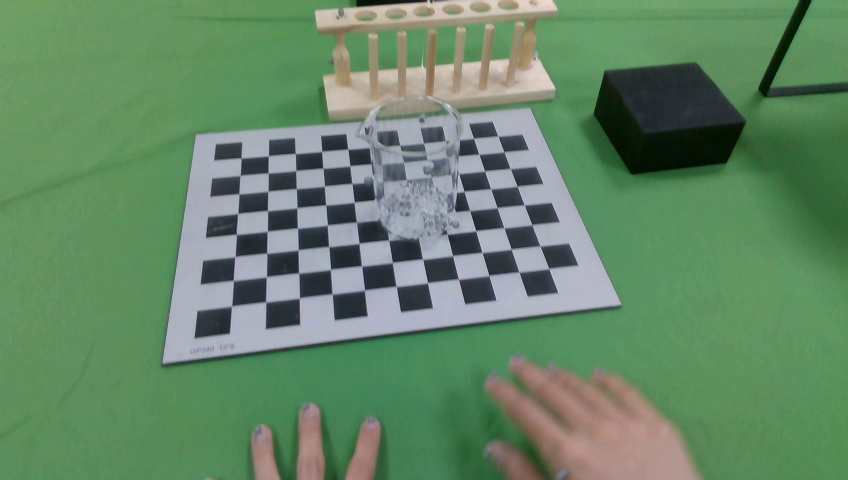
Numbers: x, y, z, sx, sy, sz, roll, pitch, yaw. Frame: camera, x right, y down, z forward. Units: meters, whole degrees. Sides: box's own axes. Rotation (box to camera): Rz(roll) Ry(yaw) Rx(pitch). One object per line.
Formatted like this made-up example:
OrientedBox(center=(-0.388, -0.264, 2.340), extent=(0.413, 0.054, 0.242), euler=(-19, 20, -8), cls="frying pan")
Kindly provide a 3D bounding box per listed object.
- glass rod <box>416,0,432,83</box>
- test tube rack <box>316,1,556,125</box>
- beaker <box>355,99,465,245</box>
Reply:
OrientedBox(center=(0.006, -0.247, 0.597), extent=(0.008, 0.201, 0.008), euler=(5, 42, -4), cls="glass rod")
OrientedBox(center=(0.015, -0.185, 0.631), extent=(0.243, 0.086, 0.066), euler=(-7, 48, -8), cls="test tube rack")
OrientedBox(center=(-0.010, -0.051, 0.492), extent=(0.084, 0.101, 0.073), euler=(-6, 47, -6), cls="beaker")
